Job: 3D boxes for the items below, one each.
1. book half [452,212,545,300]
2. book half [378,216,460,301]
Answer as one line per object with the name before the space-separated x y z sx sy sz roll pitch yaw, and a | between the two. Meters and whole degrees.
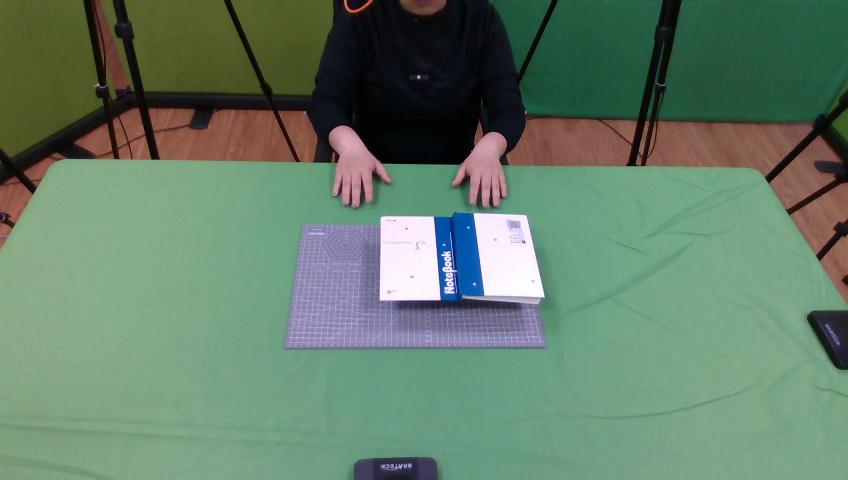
book half | 0.132 0.026 1.116 0.149 0.016 0.209 2 45 -5
book half | -0.011 0.029 1.111 0.143 0.007 0.208 0 46 -4
